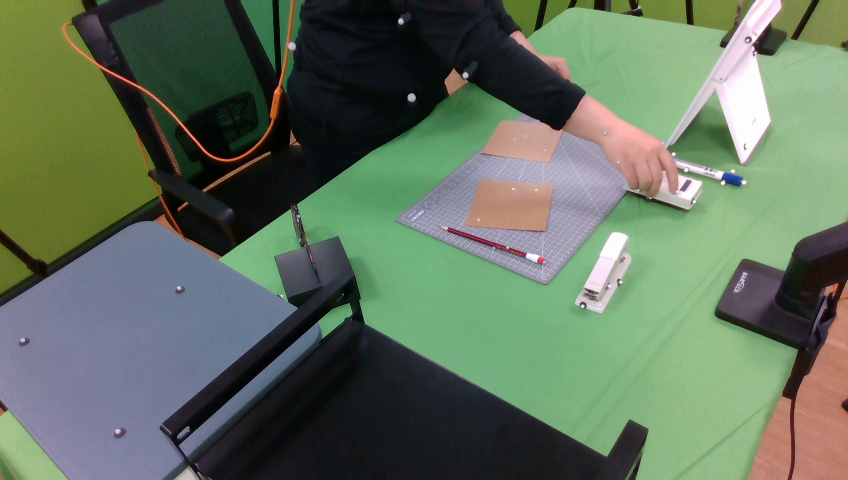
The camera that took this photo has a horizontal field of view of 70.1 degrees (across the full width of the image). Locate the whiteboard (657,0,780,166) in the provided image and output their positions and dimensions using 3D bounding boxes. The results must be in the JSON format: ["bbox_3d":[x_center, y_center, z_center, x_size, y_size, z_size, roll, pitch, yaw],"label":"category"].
[{"bbox_3d":[0.571,-0.272,1.038,0.143,0.306,0.218,37,54,17],"label":"whiteboard"}]

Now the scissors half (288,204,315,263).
[{"bbox_3d":[-0.191,-0.010,0.945,0.013,0.040,0.173,-16,37,-16],"label":"scissors half"}]

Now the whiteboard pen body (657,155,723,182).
[{"bbox_3d":[0.475,-0.122,1.052,0.139,0.017,0.017,25,50,31],"label":"whiteboard pen body"}]

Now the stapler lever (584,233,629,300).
[{"bbox_3d":[0.261,0.034,0.858,0.026,0.040,0.118,16,46,30],"label":"stapler lever"}]

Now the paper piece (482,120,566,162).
[{"bbox_3d":[0.197,-0.198,1.188,0.135,0.004,0.135,10,44,22],"label":"paper piece"}]

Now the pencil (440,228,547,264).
[{"bbox_3d":[0.105,0.007,0.957,0.192,0.012,0.012,18,46,30],"label":"pencil"}]

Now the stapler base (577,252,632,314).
[{"bbox_3d":[0.264,0.051,0.875,0.041,0.024,0.131,16,47,30],"label":"stapler base"}]

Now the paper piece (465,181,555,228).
[{"bbox_3d":[0.149,-0.062,1.034,0.137,0.009,0.136,4,37,17],"label":"paper piece"}]

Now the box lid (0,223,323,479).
[{"bbox_3d":[-0.318,0.109,0.671,0.368,0.015,0.264,24,49,31],"label":"box lid"}]

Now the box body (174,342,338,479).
[{"bbox_3d":[-0.311,0.165,0.720,0.361,0.161,0.255,23,49,32],"label":"box body"}]

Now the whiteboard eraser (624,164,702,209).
[{"bbox_3d":[0.396,-0.086,1.003,0.112,0.042,0.056,22,51,32],"label":"whiteboard eraser"}]

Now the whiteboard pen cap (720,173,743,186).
[{"bbox_3d":[0.519,-0.103,1.020,0.033,0.018,0.018,23,49,29],"label":"whiteboard pen cap"}]

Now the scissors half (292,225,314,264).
[{"bbox_3d":[-0.188,0.007,0.954,0.013,0.040,0.174,-20,22,-13],"label":"scissors half"}]
